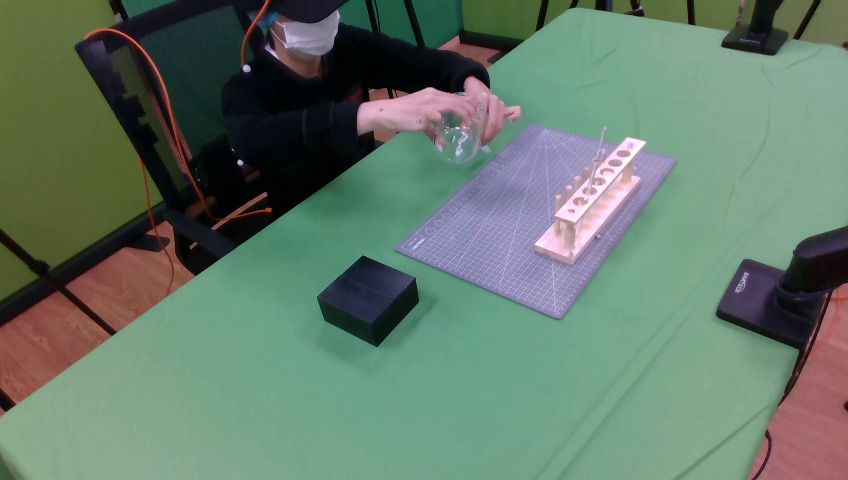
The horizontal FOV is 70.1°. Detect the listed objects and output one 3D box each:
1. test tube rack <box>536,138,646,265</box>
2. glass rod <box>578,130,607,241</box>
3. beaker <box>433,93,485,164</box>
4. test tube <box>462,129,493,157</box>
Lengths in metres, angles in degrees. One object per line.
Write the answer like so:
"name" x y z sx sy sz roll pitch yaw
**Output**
"test tube rack" 0.268 -0.071 0.964 0.066 0.085 0.243 23 49 32
"glass rod" 0.240 -0.071 0.866 0.008 0.200 0.008 0 44 1
"beaker" 0.056 -0.170 0.946 0.073 0.084 0.100 -9 39 19
"test tube" 0.097 -0.170 1.074 0.017 0.017 0.151 11 -1 22
